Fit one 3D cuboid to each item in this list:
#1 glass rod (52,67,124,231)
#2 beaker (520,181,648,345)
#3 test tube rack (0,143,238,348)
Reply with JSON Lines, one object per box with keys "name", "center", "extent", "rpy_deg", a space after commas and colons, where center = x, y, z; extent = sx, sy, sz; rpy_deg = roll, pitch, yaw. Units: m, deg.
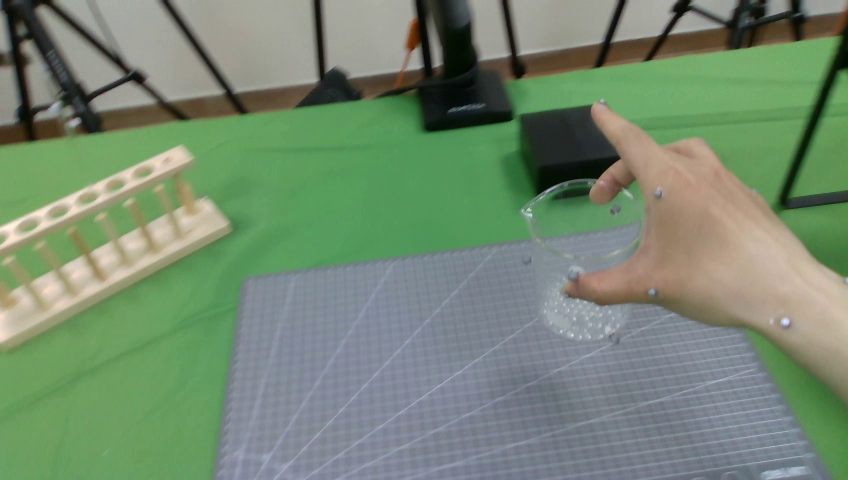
{"name": "glass rod", "center": [-0.321, -0.070, 0.591], "extent": [0.008, 0.201, 0.008], "rpy_deg": [-1, 37, 1]}
{"name": "beaker", "center": [0.110, 0.020, 0.427], "extent": [0.083, 0.101, 0.073], "rpy_deg": [13, 50, 25]}
{"name": "test tube rack", "center": [-0.325, 0.000, 0.615], "extent": [0.242, 0.086, 0.066], "rpy_deg": [-31, 50, -23]}
